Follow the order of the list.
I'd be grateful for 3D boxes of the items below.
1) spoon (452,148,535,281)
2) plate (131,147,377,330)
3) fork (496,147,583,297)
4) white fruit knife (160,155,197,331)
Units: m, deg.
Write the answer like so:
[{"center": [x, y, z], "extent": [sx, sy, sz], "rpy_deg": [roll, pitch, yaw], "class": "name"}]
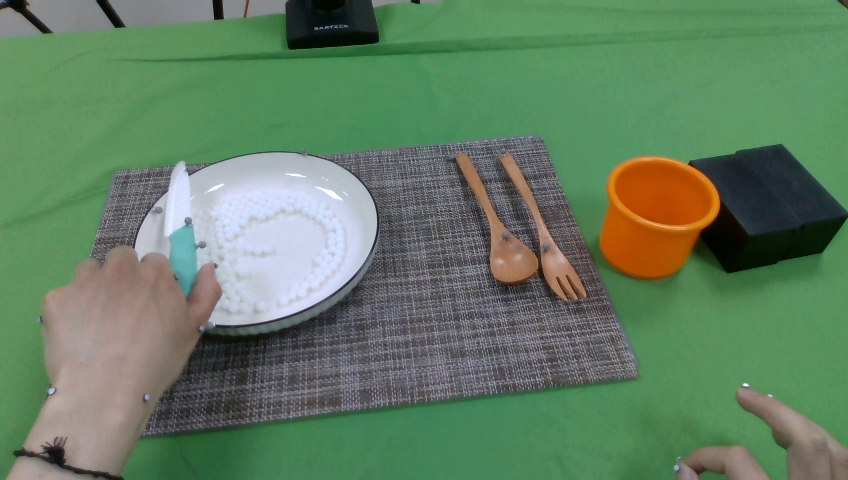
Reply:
[{"center": [0.058, -0.032, 0.575], "extent": [0.041, 0.022, 0.191], "rpy_deg": [-23, 50, 4], "class": "spoon"}, {"center": [-0.144, -0.004, 0.537], "extent": [0.209, 0.038, 0.207], "rpy_deg": [0, 48, 0], "class": "plate"}, {"center": [0.102, -0.025, 0.571], "extent": [0.028, 0.019, 0.205], "rpy_deg": [-13, 51, -4], "class": "fork"}, {"center": [-0.207, -0.009, 0.512], "extent": [0.027, 0.016, 0.205], "rpy_deg": [-14, 49, -8], "class": "white fruit knife"}]
